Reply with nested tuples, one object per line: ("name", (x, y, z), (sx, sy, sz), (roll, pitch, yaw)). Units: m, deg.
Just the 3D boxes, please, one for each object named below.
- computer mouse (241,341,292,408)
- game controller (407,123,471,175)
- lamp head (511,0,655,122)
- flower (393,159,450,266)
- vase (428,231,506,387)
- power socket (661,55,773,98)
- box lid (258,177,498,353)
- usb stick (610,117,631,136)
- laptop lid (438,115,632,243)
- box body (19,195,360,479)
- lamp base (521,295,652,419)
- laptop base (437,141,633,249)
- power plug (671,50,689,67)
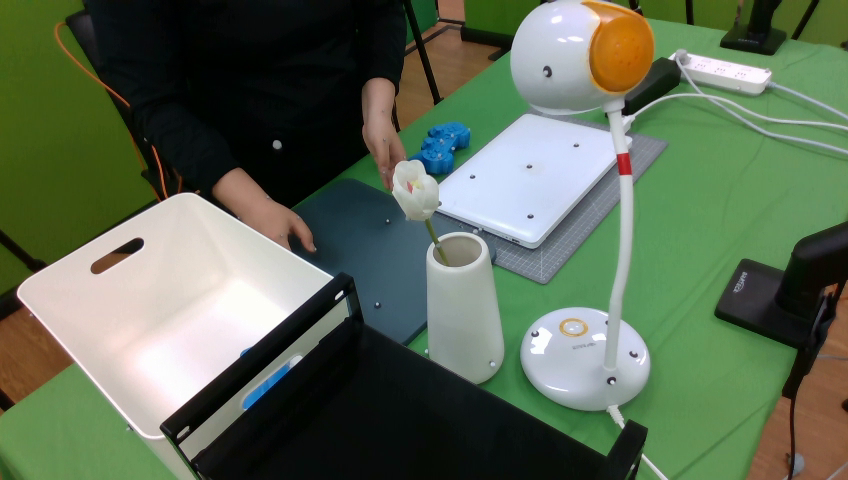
("computer mouse", (-0.201, 0.177, 0.776), (0.063, 0.041, 0.116), (-11, 44, -8))
("game controller", (0.028, -0.181, 1.170), (0.096, 0.052, 0.155), (15, 45, 18))
("lamp head", (0.155, -0.168, 0.563), (0.113, 0.113, 0.122), (-18, 23, -12))
("flower", (0.028, 0.036, 0.664), (0.043, 0.364, 0.038), (35, 73, 29))
("vase", (0.050, 0.087, 0.728), (0.098, 0.201, 0.097), (-3, 40, 3))
("power socket", (0.619, -0.353, 1.289), (0.225, 0.033, 0.072), (26, 51, 33))
("box lid", (-0.093, 0.020, 0.968), (0.368, 0.015, 0.264), (26, 51, 32))
("usb stick", (0.370, -0.208, 1.148), (0.021, 0.027, 0.059), (26, 57, 32))
("laptop lid", (0.189, -0.126, 1.081), (0.239, 0.013, 0.358), (23, 48, 34))
("box body", (-0.288, 0.118, 0.772), (0.361, 0.161, 0.255), (26, 50, 33))
("lamp base", (0.201, 0.095, 0.710), (0.161, 0.181, 0.178), (-16, 43, -10))
("laptop base", (0.193, -0.117, 1.087), (0.233, 0.023, 0.355), (20, 47, 35))
("power plug", (0.540, -0.379, 1.302), (0.073, 0.053, 0.035), (-31, 46, -23))
